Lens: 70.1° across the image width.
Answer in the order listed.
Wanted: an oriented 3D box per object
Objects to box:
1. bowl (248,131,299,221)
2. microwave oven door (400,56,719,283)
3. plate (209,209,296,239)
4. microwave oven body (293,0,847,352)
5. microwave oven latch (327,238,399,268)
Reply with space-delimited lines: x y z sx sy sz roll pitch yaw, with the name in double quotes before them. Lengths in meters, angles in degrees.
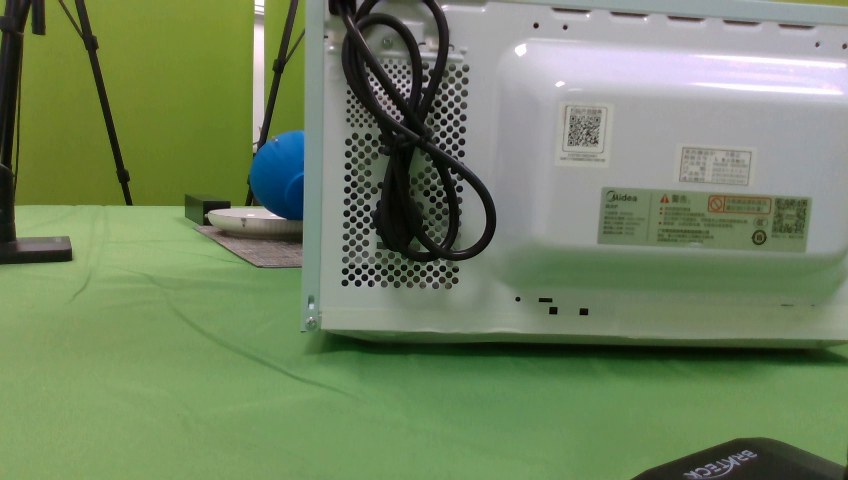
"bowl" -0.190 -0.086 0.945 0.152 0.151 0.076 -1 30 -29
"microwave oven door" 0.155 -0.078 0.698 0.356 0.243 0.039 2 8 -5
"plate" -0.271 -0.029 1.074 0.208 0.039 0.207 3 7 0
"microwave oven body" 0.122 -0.055 0.550 0.442 0.260 0.325 3 7 -5
"microwave oven latch" -0.069 0.015 0.694 0.079 0.029 0.030 3 7 -3
